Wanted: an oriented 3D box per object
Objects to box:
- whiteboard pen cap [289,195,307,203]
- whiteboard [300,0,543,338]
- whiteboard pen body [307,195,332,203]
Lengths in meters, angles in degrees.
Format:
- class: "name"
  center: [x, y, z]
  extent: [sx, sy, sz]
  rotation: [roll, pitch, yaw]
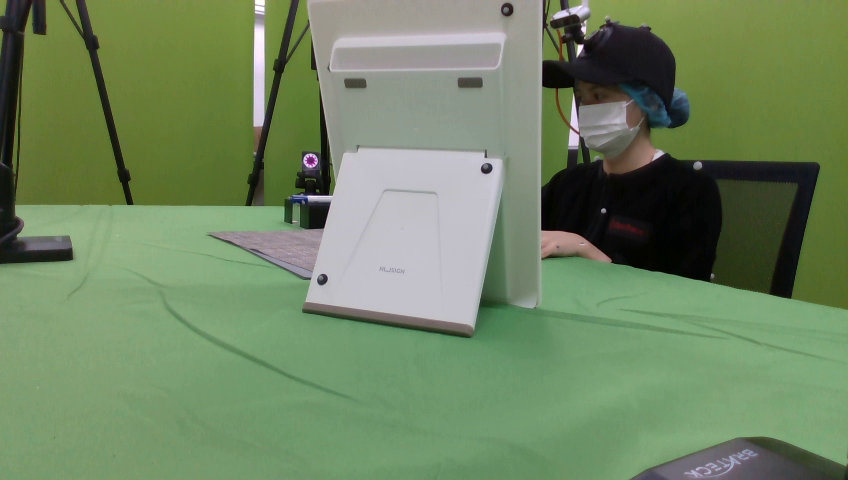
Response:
- class: "whiteboard pen cap"
  center: [-0.247, -0.081, 1.189]
  extent: [0.033, 0.018, 0.018]
  rotation: [-4, 10, -32]
- class: "whiteboard"
  center: [-0.020, -0.050, 0.523]
  extent: [0.216, 0.305, 0.144]
  rotation: [6, 27, 22]
- class: "whiteboard pen body"
  center: [-0.195, -0.082, 1.223]
  extent: [0.141, 0.017, 0.017]
  rotation: [-2, 9, -33]
